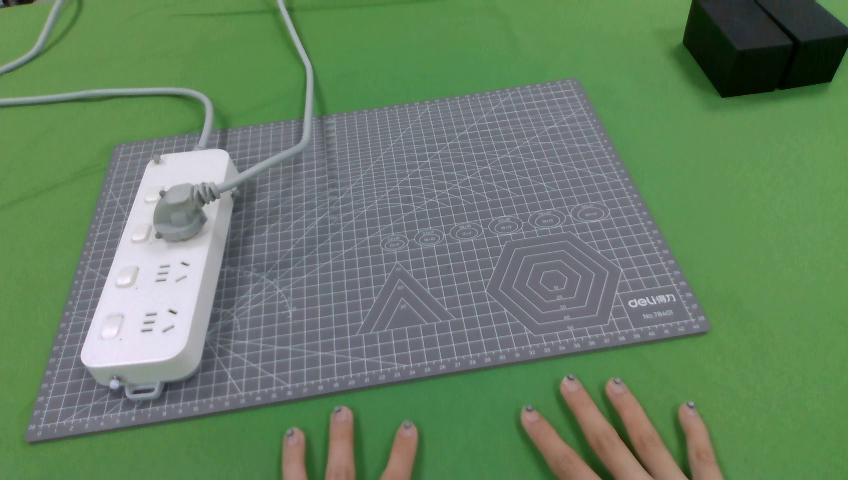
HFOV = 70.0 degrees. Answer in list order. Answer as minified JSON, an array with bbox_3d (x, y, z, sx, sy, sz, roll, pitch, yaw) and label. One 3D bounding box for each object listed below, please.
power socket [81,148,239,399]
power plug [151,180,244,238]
[{"bbox_3d":[-0.190,0.009,0.458,0.072,0.033,0.224,-4,49,-1],"label":"power socket"},{"bbox_3d":[-0.165,-0.016,0.445,0.072,0.053,0.035,2,50,9],"label":"power plug"}]
